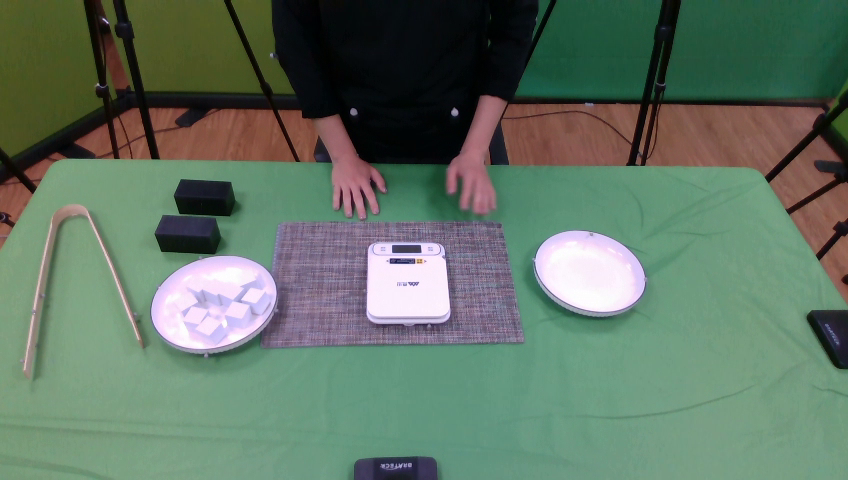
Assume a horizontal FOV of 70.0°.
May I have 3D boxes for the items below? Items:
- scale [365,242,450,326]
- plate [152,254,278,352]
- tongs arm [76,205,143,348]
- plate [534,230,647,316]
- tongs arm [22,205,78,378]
[{"bbox_3d":[-0.032,0.071,1.113,0.149,0.032,0.199,1,46,-4],"label":"scale"},{"bbox_3d":[-0.357,0.111,1.052,0.208,0.039,0.206,2,46,-2],"label":"plate"},{"bbox_3d":[-0.570,0.054,1.098,0.028,0.028,0.385,-26,53,-22],"label":"tongs arm"},{"bbox_3d":[0.311,0.065,1.145,0.209,0.038,0.208,2,45,-2],"label":"plate"},{"bbox_3d":[-0.652,0.073,1.067,0.051,0.026,0.382,-11,47,-15],"label":"tongs arm"}]
